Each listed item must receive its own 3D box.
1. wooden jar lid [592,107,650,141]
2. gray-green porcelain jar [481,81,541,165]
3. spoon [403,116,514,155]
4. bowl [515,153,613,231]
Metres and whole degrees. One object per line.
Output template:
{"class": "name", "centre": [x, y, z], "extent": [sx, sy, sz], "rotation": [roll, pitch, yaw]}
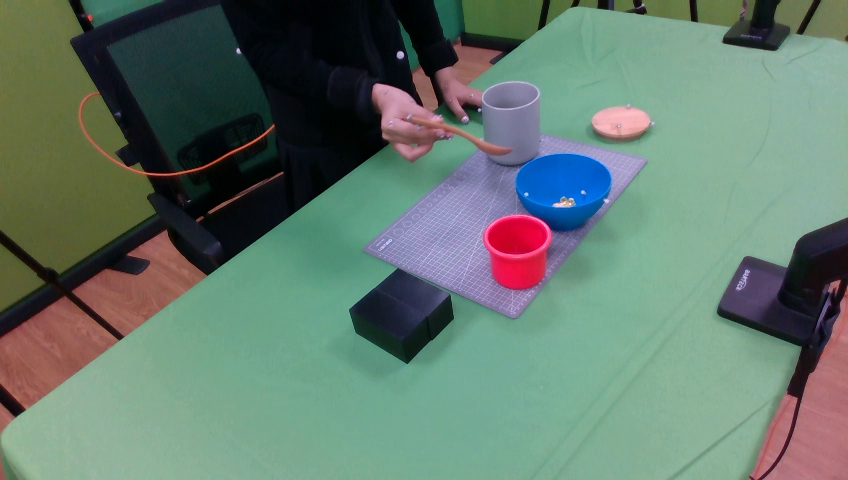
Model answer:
{"class": "wooden jar lid", "centre": [0.382, -0.225, 1.178], "extent": [0.108, 0.021, 0.108], "rotation": [-5, 40, 4]}
{"class": "gray-green porcelain jar", "centre": [0.162, -0.212, 1.117], "extent": [0.106, 0.127, 0.105], "rotation": [-5, 40, 5]}
{"class": "spoon", "centre": [0.054, -0.156, 0.897], "extent": [0.195, 0.021, 0.041], "rotation": [15, -5, -30]}
{"class": "bowl", "centre": [0.224, -0.068, 0.972], "extent": [0.151, 0.077, 0.150], "rotation": [-5, 40, 5]}
